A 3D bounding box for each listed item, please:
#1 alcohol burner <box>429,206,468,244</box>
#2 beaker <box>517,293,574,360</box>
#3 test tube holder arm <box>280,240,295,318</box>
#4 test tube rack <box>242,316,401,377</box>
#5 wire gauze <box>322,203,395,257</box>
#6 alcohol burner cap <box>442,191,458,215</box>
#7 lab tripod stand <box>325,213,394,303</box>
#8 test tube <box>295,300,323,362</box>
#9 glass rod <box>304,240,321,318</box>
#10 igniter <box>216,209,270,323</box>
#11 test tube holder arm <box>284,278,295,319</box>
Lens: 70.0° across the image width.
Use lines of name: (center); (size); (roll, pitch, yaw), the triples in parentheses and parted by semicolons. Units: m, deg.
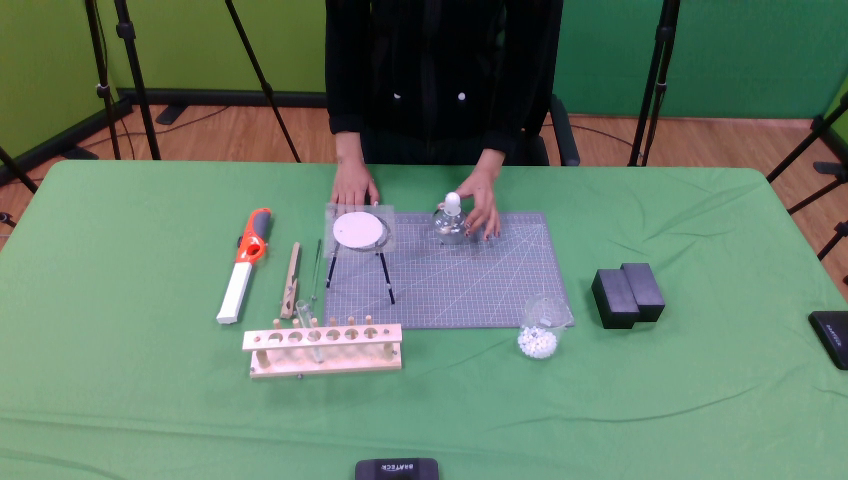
alcohol burner: (0.049, -0.049, 1.184); (0.078, 0.119, 0.077); (2, 49, -2)
beaker: (0.200, 0.149, 1.018); (0.084, 0.101, 0.073); (14, 47, 8)
test tube holder arm: (-0.250, 0.068, 1.113); (0.013, 0.015, 0.177); (27, 38, -32)
test tube rack: (-0.161, 0.166, 0.983); (0.242, 0.085, 0.066); (-2, 46, -6)
wire gauze: (-0.111, -0.020, 1.035); (0.121, 0.011, 0.124); (0, 47, -7)
alcohol burner cap: (0.050, -0.072, 1.156); (0.034, 0.048, 0.033); (-1, 55, 1)
lab tripod stand: (-0.104, 0.031, 1.080); (0.148, 0.132, 0.147); (4, 45, -4)
test tube: (-0.176, 0.143, 0.935); (0.017, 0.151, 0.017); (-2, 46, 2)
glass rod: (-0.207, 0.068, 1.128); (0.008, 0.008, 0.198); (2, 43, -2)
igniter: (-0.335, 0.039, 1.132); (0.057, 0.025, 0.275); (-3, 46, 6)
test tube holder arm: (-0.242, 0.103, 1.085); (0.010, 0.015, 0.087); (29, 37, -30)
